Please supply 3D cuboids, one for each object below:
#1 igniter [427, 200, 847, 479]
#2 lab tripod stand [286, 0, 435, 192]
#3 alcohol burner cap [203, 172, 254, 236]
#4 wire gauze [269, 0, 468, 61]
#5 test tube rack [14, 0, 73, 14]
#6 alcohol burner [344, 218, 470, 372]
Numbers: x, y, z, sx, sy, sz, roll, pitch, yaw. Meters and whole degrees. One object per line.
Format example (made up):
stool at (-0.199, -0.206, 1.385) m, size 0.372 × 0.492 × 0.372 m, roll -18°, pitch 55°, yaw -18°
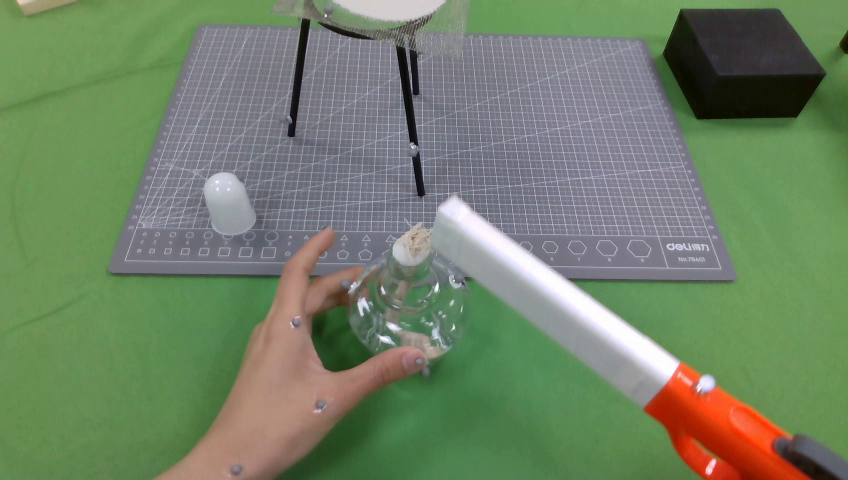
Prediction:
igniter at (0.111, 0.072, 0.265) m, size 0.275 × 0.057 × 0.025 m, roll 37°, pitch 54°, yaw 18°
lab tripod stand at (-0.037, -0.126, 0.461) m, size 0.148 × 0.132 × 0.147 m, roll 3°, pitch 53°, yaw -4°
alcohol burner cap at (-0.143, -0.029, 0.438) m, size 0.034 × 0.048 × 0.033 m, roll 3°, pitch 52°, yaw -3°
wire gauze at (-0.028, -0.172, 0.412) m, size 0.125 × 0.011 × 0.120 m, roll 11°, pitch 53°, yaw 3°
test tube rack at (-0.317, -0.324, 0.627) m, size 0.242 × 0.086 × 0.066 m, roll -30°, pitch 61°, yaw -24°
alcohol burner at (-0.010, 0.030, 0.362) m, size 0.078 × 0.120 × 0.077 m, roll 1°, pitch 53°, yaw 0°
